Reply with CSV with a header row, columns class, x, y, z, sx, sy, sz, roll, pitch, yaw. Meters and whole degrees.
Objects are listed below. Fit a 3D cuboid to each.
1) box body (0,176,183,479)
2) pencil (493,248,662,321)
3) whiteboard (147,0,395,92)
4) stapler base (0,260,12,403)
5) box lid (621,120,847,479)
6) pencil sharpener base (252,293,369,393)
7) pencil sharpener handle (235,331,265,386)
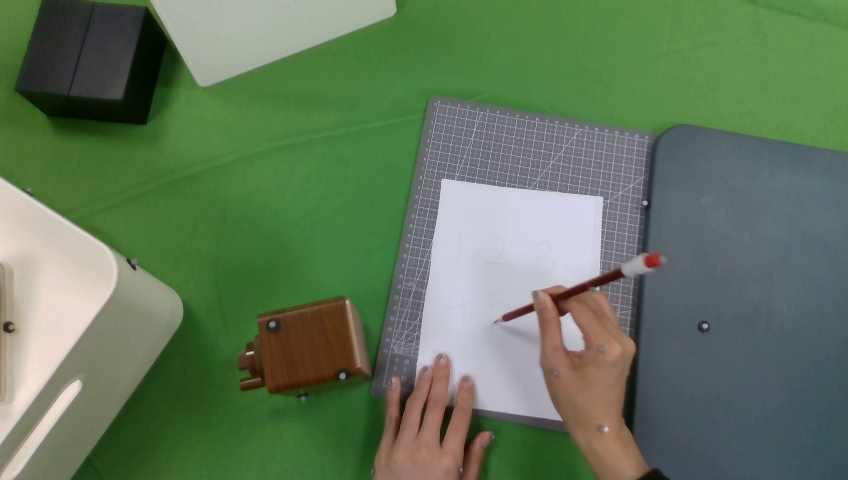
class,x,y,z,sx,sy,sz,roll,pitch,yaw
box body,-0.413,0.048,0.469,0.363,0.161,0.253,30,77,6
pencil,0.107,0.041,0.473,0.012,0.194,0.012,11,66,-25
whiteboard,-0.173,-0.326,0.531,0.217,0.308,0.142,-23,57,-7
stapler base,-0.387,0.079,0.527,0.041,0.024,0.130,-10,78,-2
box lid,0.325,0.071,0.559,0.263,0.015,0.369,10,76,0
pencil sharpener base,-0.090,0.088,0.495,0.077,0.107,0.061,-12,76,-4
pencil sharpener handle,-0.139,0.099,0.478,0.031,0.068,0.035,-12,59,-4
